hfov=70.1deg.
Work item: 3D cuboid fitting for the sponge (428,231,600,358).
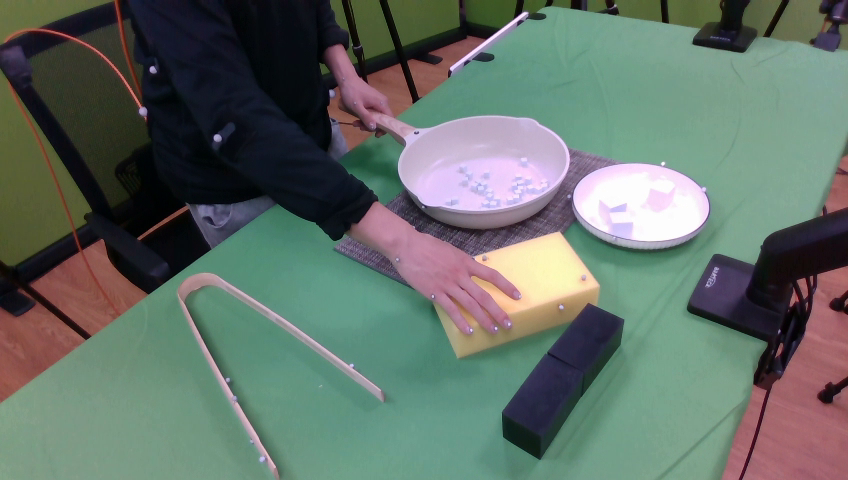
[{"bbox_3d":[0.120,0.071,0.834,0.207,0.061,0.117,-16,44,-12],"label":"sponge"}]

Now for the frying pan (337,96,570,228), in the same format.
[{"bbox_3d":[0.023,-0.167,1.090,0.484,0.103,0.308,32,52,26],"label":"frying pan"}]

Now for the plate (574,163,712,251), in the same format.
[{"bbox_3d":[0.345,-0.050,0.966,0.207,0.039,0.206,-4,40,4],"label":"plate"}]

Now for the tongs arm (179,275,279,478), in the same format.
[{"bbox_3d":[-0.260,0.161,0.807,0.051,0.026,0.381,-29,44,-25],"label":"tongs arm"}]

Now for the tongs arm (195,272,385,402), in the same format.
[{"bbox_3d":[-0.198,0.125,0.847,0.384,0.028,0.028,25,52,32],"label":"tongs arm"}]
